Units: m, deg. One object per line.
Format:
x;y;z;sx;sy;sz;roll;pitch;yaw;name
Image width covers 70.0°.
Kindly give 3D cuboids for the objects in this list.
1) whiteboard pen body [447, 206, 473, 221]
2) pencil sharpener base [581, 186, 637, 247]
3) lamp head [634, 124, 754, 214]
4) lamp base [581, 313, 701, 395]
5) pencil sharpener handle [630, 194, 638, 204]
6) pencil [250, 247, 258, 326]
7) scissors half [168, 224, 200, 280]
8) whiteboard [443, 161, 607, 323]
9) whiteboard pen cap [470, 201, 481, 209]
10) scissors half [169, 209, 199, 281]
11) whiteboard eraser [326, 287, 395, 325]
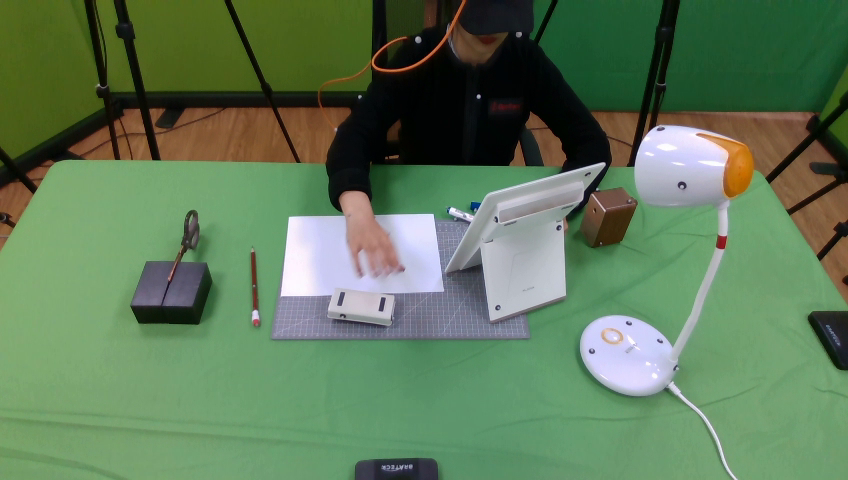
0.111;-0.039;1.241;0.140;0.017;0.017;23;49;13;whiteboard pen body
0.369;-0.047;1.209;0.077;0.107;0.061;-11;47;-15;pencil sharpener base
0.351;-0.089;0.776;0.112;0.113;0.122;-30;30;-28;lamp head
0.361;0.144;0.973;0.178;0.181;0.160;34;53;23;lamp base
0.417;-0.068;1.215;0.031;0.068;0.036;-11;60;-14;pencil sharpener handle
-0.311;0.079;1.107;0.012;0.012;0.192;-7;46;-11;pencil
-0.440;0.023;1.111;0.013;0.040;0.174;7;29;-6;scissors half
0.185;0.025;1.029;0.217;0.306;0.143;-15;68;-18;whiteboard
0.113;-0.073;1.279;0.033;0.018;0.018;4;46;6;whiteboard pen cap
-0.438;0.007;1.098;0.013;0.040;0.174;3;48;-3;scissors half
-0.110;0.118;1.057;0.113;0.042;0.055;7;45;2;whiteboard eraser
